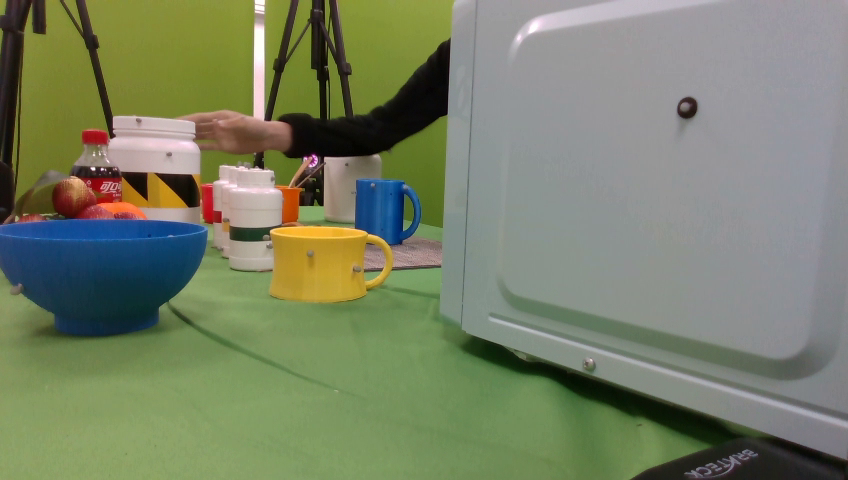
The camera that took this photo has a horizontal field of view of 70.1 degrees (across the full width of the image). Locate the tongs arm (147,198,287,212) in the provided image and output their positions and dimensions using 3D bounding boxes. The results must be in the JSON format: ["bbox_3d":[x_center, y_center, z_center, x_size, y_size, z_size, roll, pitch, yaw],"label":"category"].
[{"bbox_3d":[-0.504,-0.090,1.513,0.028,0.028,0.389,-1,3,37],"label":"tongs arm"}]

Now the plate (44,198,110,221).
[{"bbox_3d":[-0.617,-0.056,1.179,0.209,0.038,0.209,3,7,0],"label":"plate"}]

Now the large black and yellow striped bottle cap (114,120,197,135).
[{"bbox_3d":[-0.407,-0.171,0.920,0.115,0.019,0.115,2,9,0],"label":"large black and yellow striped bottle cap"}]

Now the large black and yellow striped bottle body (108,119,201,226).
[{"bbox_3d":[-0.412,-0.088,0.930,0.131,0.184,0.130,3,7,0],"label":"large black and yellow striped bottle body"}]

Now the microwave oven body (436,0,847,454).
[{"bbox_3d":[0.279,-0.040,0.464,0.444,0.260,0.324,-3,9,-41],"label":"microwave oven body"}]

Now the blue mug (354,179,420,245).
[{"bbox_3d":[-0.060,-0.047,1.006,0.116,0.106,0.082,6,8,20],"label":"blue mug"}]

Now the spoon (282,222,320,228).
[{"bbox_3d":[-0.227,-0.023,1.085,0.042,0.021,0.193,-25,18,-23],"label":"spoon"}]

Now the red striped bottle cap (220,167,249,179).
[{"bbox_3d":[-0.281,-0.100,0.901,0.044,0.017,0.044,0,5,0],"label":"red striped bottle cap"}]

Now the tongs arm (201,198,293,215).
[{"bbox_3d":[-0.423,-0.084,1.473,0.050,0.026,0.386,1,6,21],"label":"tongs arm"}]

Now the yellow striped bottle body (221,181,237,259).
[{"bbox_3d":[-0.244,-0.035,0.823,0.063,0.120,0.063,3,8,0],"label":"yellow striped bottle body"}]

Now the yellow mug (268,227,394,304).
[{"bbox_3d":[-0.094,0.023,0.629,0.131,0.064,0.099,0,7,-22],"label":"yellow mug"}]

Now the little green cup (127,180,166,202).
[{"bbox_3d":[-0.486,-0.086,1.061,0.061,0.038,0.061,1,7,0],"label":"little green cup"}]

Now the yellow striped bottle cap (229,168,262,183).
[{"bbox_3d":[-0.240,-0.087,0.816,0.044,0.018,0.044,-3,5,1],"label":"yellow striped bottle cap"}]

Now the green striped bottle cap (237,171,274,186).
[{"bbox_3d":[-0.205,-0.074,0.738,0.044,0.020,0.044,1,8,0],"label":"green striped bottle cap"}]

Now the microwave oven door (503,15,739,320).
[{"bbox_3d":[0.218,-0.065,0.600,0.358,0.243,0.039,-4,10,-41],"label":"microwave oven door"}]

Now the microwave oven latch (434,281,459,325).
[{"bbox_3d":[0.044,0.045,0.470,0.079,0.029,0.030,-2,8,-39],"label":"microwave oven latch"}]

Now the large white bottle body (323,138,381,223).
[{"bbox_3d":[-0.163,-0.135,1.369,0.131,0.184,0.130,2,7,0],"label":"large white bottle body"}]

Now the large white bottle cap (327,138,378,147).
[{"bbox_3d":[-0.160,-0.218,1.357,0.115,0.018,0.115,2,8,0],"label":"large white bottle cap"}]

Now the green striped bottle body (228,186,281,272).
[{"bbox_3d":[-0.208,-0.023,0.745,0.063,0.119,0.063,2,7,0],"label":"green striped bottle body"}]

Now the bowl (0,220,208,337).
[{"bbox_3d":[-0.251,0.029,0.479,0.151,0.077,0.151,2,7,0],"label":"bowl"}]

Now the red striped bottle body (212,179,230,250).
[{"bbox_3d":[-0.284,-0.047,0.909,0.063,0.119,0.063,3,10,0],"label":"red striped bottle body"}]

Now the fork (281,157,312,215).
[{"bbox_3d":[-0.289,-0.116,1.321,0.028,0.019,0.207,5,51,20],"label":"fork"}]

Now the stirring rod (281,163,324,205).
[{"bbox_3d":[-0.278,-0.105,1.294,0.176,0.006,0.014,-47,24,-18],"label":"stirring rod"}]
